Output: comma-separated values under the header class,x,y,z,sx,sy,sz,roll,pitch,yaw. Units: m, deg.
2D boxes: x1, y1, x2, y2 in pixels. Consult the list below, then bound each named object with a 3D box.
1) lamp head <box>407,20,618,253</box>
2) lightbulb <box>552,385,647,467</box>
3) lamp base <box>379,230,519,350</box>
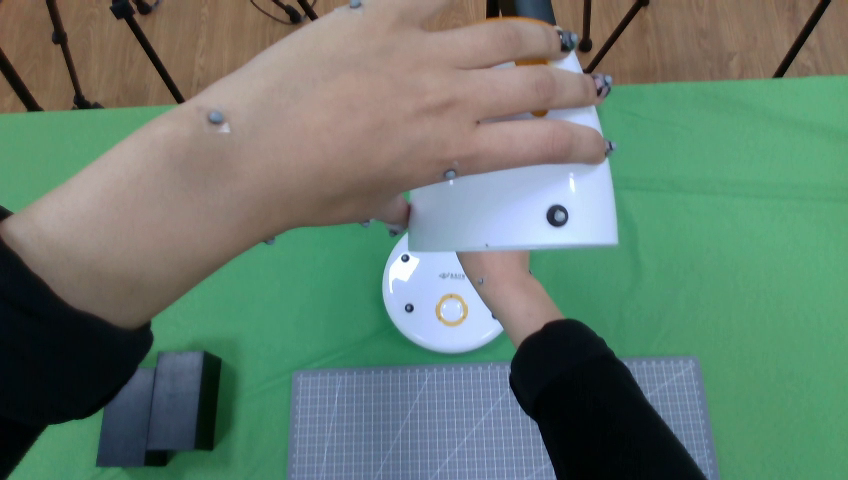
class,x,y,z,sx,sy,sz,roll,pitch,yaw
lamp head,0.044,-0.051,0.329,0.112,0.112,0.122,-3,83,1
lightbulb,0.178,0.188,0.627,0.106,0.060,0.059,36,74,30
lamp base,0.023,0.009,0.632,0.160,0.181,0.177,-7,67,0
